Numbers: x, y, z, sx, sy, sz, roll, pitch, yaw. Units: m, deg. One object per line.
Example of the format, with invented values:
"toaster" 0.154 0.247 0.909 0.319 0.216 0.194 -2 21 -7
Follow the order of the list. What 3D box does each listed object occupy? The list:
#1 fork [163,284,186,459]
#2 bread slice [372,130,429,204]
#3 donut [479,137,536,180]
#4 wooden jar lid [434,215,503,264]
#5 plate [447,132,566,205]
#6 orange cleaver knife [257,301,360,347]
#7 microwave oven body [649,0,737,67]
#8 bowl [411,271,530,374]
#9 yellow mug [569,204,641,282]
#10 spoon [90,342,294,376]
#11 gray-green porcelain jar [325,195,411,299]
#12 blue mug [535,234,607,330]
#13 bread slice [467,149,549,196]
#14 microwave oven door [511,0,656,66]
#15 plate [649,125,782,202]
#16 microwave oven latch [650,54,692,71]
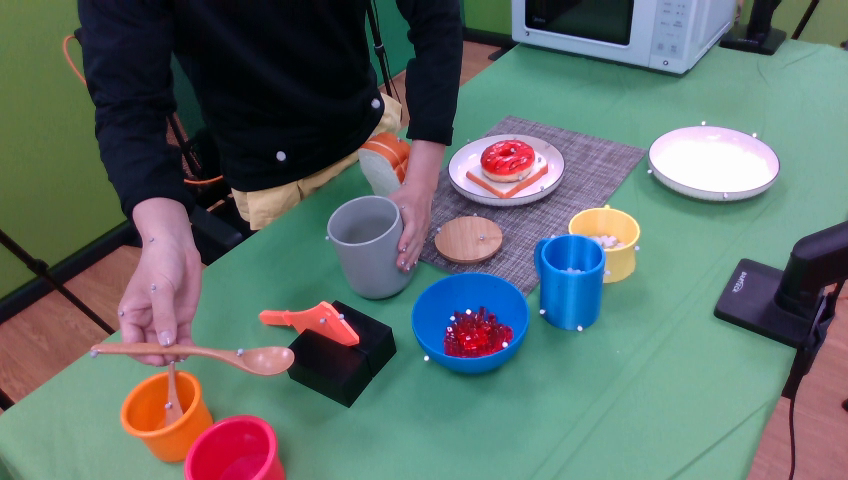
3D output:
"fork" -0.303 0.157 0.733 0.028 0.019 0.207 -3 85 11
"bread slice" -0.043 -0.127 1.039 0.106 0.135 0.018 30 60 34
"donut" 0.145 -0.143 1.056 0.099 0.048 0.098 -6 42 6
"wooden jar lid" 0.070 0.001 0.956 0.108 0.021 0.108 -4 40 4
"plate" 0.146 -0.124 1.076 0.209 0.038 0.208 -4 41 4
"orange cleaver knife" -0.160 0.115 0.813 0.210 0.077 0.012 -9 31 48
"microwave oven body" 0.475 -0.602 1.411 0.438 0.261 0.327 23 50 32
"bowl" 0.062 0.120 0.780 0.151 0.077 0.150 -4 40 4
"yellow mug" 0.268 -0.005 0.904 0.099 0.064 0.130 7 41 15
"spoon" -0.229 0.115 0.616 0.195 0.021 0.041 13 31 -27
"gray-green porcelain jar" -0.077 0.015 0.881 0.106 0.127 0.105 -6 44 6
"blue mug" 0.191 0.048 0.824 0.082 0.106 0.115 -26 44 -20
"bread slice" 0.156 -0.128 1.085 0.132 0.019 0.104 -34 48 -23
"microwave oven door" 0.351 -0.539 1.348 0.353 0.245 0.039 24 50 31
"plate" 0.493 -0.127 1.036 0.207 0.039 0.206 -4 40 4
"microwave oven latch" 0.531 -0.386 1.301 0.078 0.029 0.030 25 51 33
